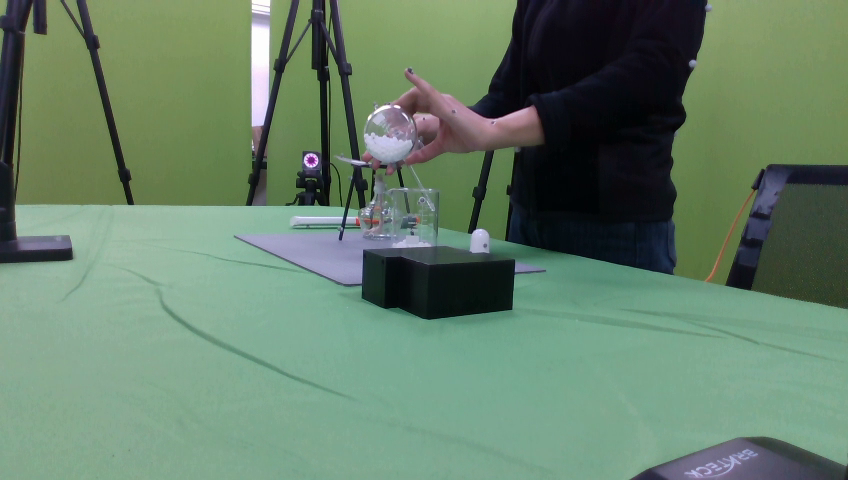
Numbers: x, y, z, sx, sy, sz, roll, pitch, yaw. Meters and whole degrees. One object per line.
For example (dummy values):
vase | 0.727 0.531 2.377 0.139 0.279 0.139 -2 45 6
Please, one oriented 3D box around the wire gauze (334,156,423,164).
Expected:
wire gauze | -0.081 -0.137 1.051 0.122 0.011 0.124 0 8 -30

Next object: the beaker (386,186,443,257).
beaker | -0.015 -0.028 0.886 0.084 0.100 0.074 1 7 -9

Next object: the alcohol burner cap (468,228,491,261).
alcohol burner cap | 0.082 0.006 0.878 0.034 0.048 0.034 3 6 0

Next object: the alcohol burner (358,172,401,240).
alcohol burner | -0.077 -0.061 1.065 0.078 0.119 0.078 4 9 0

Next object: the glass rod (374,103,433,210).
glass rod | -0.031 -0.126 0.901 0.008 0.199 0.008 -25 -19 -9

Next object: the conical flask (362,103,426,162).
conical flask | -0.032 -0.137 0.834 0.075 0.075 0.122 4 -3 15

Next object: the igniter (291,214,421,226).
igniter | -0.135 -0.041 1.250 0.278 0.025 0.057 -1 -3 -28

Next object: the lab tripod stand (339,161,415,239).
lab tripod stand | -0.082 -0.070 1.059 0.148 0.131 0.148 4 6 0
